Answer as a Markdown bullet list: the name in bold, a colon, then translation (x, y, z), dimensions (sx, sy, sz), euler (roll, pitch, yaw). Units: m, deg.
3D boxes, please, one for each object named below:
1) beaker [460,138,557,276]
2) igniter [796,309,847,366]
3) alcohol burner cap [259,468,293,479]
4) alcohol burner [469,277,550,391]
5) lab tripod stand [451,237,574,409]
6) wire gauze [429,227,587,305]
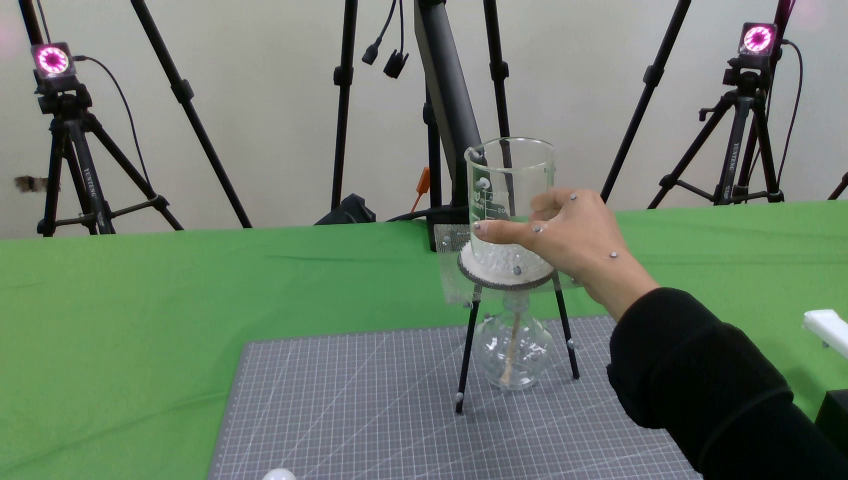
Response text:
- **beaker**: translation (0.068, -0.027, 0.509), dimensions (0.074, 0.101, 0.083), euler (-25, 34, -33)
- **igniter**: translation (0.397, 0.134, 0.476), dimensions (0.057, 0.025, 0.274), euler (-5, 26, -5)
- **alcohol burner cap**: translation (-0.110, 0.194, 0.458), dimensions (0.034, 0.048, 0.033), euler (0, 30, 1)
- **alcohol burner**: translation (0.082, 0.084, 0.577), dimensions (0.078, 0.120, 0.077), euler (0, 31, 0)
- **lab tripod stand**: translation (0.075, 0.074, 0.576), dimensions (0.148, 0.132, 0.147), euler (1, 28, 0)
- **wire gauze**: translation (0.069, 0.017, 0.540), dimensions (0.121, 0.011, 0.124), euler (-2, 29, -5)
